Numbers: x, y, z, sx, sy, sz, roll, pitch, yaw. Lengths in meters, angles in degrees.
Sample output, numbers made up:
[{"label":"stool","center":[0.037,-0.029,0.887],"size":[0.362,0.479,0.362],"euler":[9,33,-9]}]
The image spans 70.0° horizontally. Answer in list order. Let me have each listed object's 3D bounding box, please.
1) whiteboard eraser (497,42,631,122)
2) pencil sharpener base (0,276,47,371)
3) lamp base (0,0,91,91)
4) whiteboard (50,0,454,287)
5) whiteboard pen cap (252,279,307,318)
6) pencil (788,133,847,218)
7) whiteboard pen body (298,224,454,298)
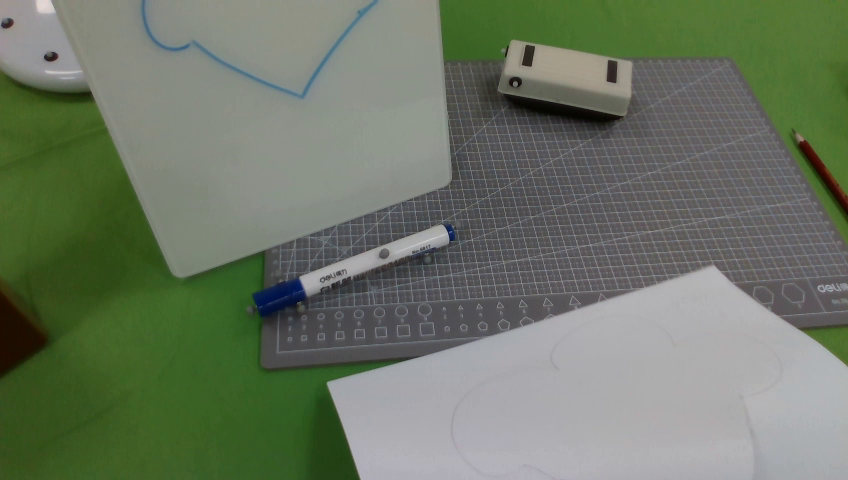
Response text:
[{"label":"whiteboard eraser","center":[0.124,-0.138,0.536],"size":[0.112,0.042,0.055],"euler":[12,55,3]},{"label":"pencil sharpener base","center":[-0.277,0.037,0.333],"size":[0.061,0.108,0.076],"euler":[37,60,19]},{"label":"lamp base","center":[-0.304,-0.240,0.481],"size":[0.178,0.182,0.160],"euler":[30,57,18]},{"label":"whiteboard","center":[-0.115,-0.160,0.404],"size":[0.217,0.308,0.142],"euler":[-21,39,-18]},{"label":"whiteboard pen cap","center":[-0.095,0.038,0.400],"size":[0.033,0.018,0.018],"euler":[-22,59,-18]},{"label":"pencil","center":[0.353,-0.022,0.501],"size":[0.012,0.012,0.192],"euler":[-6,54,-9]},{"label":"whiteboard pen body","center":[-0.042,0.018,0.418],"size":[0.141,0.017,0.017],"euler":[-21,59,-18]}]
